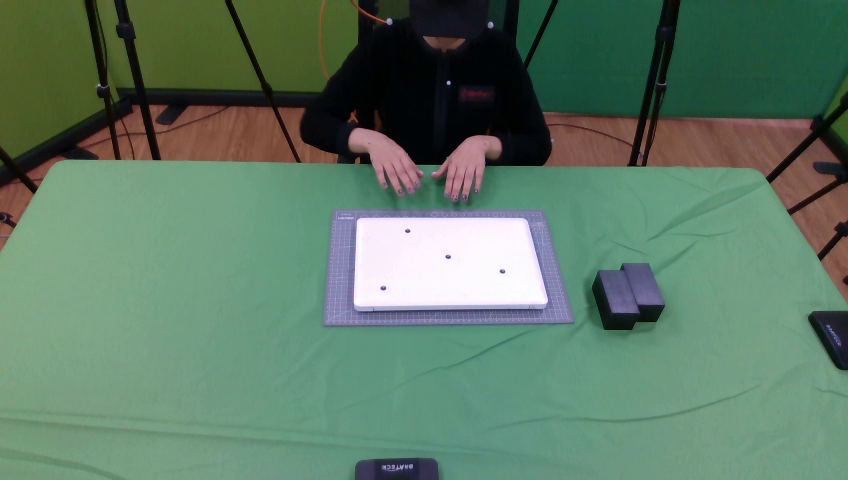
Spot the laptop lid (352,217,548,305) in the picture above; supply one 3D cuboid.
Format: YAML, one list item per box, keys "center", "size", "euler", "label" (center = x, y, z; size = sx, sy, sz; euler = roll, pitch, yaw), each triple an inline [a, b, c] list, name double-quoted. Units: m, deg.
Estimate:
- center: [0.044, 0.034, 1.155]
  size: [0.357, 0.013, 0.240]
  euler: [1, 44, -3]
  label: "laptop lid"

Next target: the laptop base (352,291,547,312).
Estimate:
- center: [0.043, 0.044, 1.162]
  size: [0.355, 0.023, 0.234]
  euler: [0, 43, -5]
  label: "laptop base"
